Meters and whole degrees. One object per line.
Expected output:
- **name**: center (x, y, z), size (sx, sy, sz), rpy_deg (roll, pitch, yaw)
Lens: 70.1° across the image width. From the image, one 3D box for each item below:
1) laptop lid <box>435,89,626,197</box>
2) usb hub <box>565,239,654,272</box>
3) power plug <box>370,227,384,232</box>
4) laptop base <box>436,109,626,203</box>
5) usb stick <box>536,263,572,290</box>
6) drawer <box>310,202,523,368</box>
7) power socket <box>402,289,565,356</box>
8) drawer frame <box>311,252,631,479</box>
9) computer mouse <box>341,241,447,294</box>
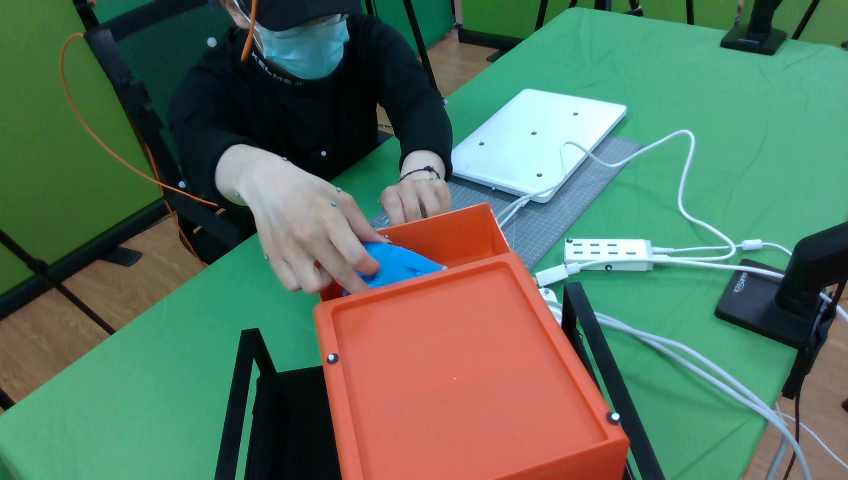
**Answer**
- **laptop lid**: center (0.211, -0.202, 1.165), size (0.240, 0.013, 0.358), rpy_deg (21, 47, 32)
- **usb hub**: center (0.275, 0.022, 0.906), size (0.125, 0.025, 0.049), rpy_deg (1, 41, 9)
- **power plug**: center (-0.065, 0.009, 0.956), size (0.035, 0.053, 0.072), rpy_deg (-28, 53, 2)
- **laptop base**: center (0.214, -0.193, 1.172), size (0.233, 0.023, 0.355), rpy_deg (19, 46, 32)
- **usb stick**: center (0.183, 0.056, 0.875), size (0.059, 0.021, 0.027), rpy_deg (-30, 2, -6)
- **drawer**: center (0.003, 0.070, 0.569), size (0.195, 0.073, 0.210), rpy_deg (-13, 41, -7)
- **power socket**: center (0.081, 0.112, 0.822), size (0.227, 0.033, 0.072), rpy_deg (-7, 41, -1)
- **drawer frame**: center (0.025, 0.122, 0.501), size (0.202, 0.083, 0.212), rpy_deg (-14, 41, -9)
- **computer mouse**: center (-0.023, 0.039, 0.600), size (0.117, 0.041, 0.062), rpy_deg (17, 46, -11)
